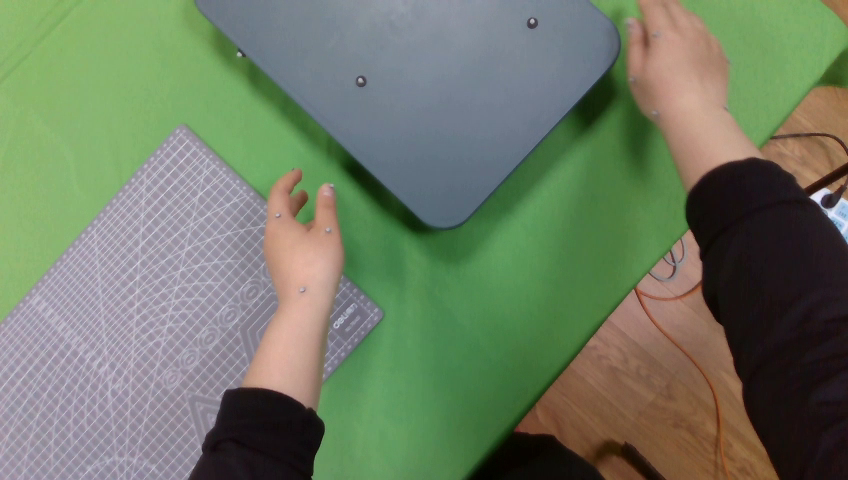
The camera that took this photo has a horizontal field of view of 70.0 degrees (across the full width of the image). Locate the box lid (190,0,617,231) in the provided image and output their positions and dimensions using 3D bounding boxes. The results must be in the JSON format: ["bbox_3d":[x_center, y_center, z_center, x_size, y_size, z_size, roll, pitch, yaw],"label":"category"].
[{"bbox_3d":[-0.026,-0.216,0.592,0.371,0.015,0.263,43,90,5],"label":"box lid"}]
